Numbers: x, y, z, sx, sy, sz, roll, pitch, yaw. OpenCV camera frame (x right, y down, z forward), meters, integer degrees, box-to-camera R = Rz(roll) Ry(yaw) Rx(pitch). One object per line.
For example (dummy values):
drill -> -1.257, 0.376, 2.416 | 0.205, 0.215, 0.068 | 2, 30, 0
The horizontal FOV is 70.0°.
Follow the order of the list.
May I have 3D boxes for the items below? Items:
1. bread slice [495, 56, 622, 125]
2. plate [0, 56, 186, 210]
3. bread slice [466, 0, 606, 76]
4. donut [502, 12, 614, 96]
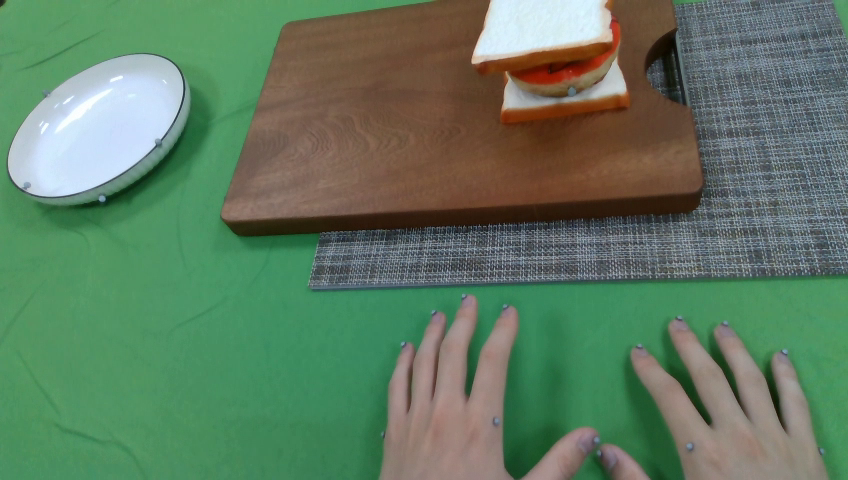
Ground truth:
bread slice -> 0.112, -0.160, 0.538 | 0.105, 0.019, 0.130 | -6, 58, 11
plate -> -0.350, -0.115, 0.657 | 0.209, 0.038, 0.207 | -7, 56, 11
bread slice -> 0.094, -0.186, 0.488 | 0.106, 0.018, 0.133 | -4, 54, 24
donut -> 0.106, -0.162, 0.504 | 0.099, 0.049, 0.098 | -8, 56, 12
